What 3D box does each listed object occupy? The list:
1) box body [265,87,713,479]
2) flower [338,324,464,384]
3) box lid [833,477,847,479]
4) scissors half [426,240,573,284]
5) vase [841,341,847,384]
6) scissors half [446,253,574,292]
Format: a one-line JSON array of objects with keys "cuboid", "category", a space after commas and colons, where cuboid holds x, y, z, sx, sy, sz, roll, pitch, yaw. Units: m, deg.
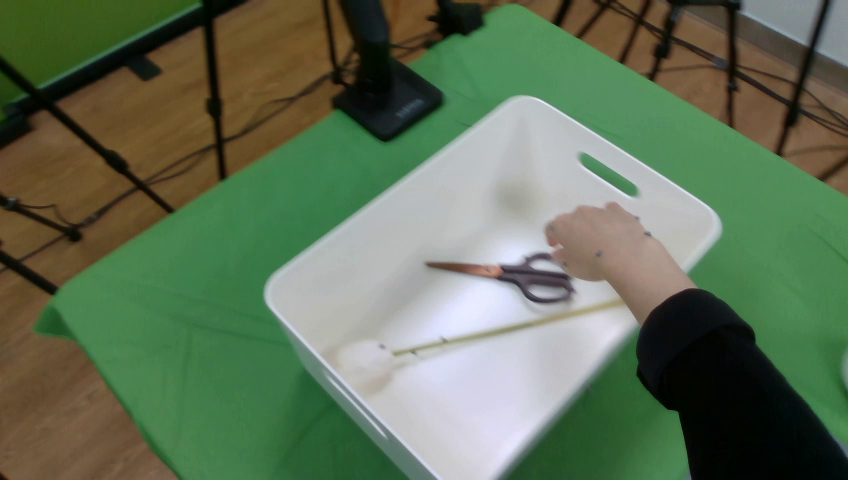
[{"cuboid": [0.067, 0.048, 0.612, 0.252, 0.162, 0.363, 39, 65, 22], "category": "box body"}, {"cuboid": [0.069, 0.088, 0.689, 0.363, 0.044, 0.038, -15, 30, -33], "category": "flower"}, {"cuboid": [0.277, 0.357, 0.503, 0.372, 0.015, 0.260, -8, 58, -5], "category": "box lid"}, {"cuboid": [0.086, 0.019, 0.703, 0.174, 0.040, 0.013, 9, 15, 13], "category": "scissors half"}, {"cuboid": [0.486, 0.093, 0.565, 0.098, 0.202, 0.097, 0, 55, 0], "category": "vase"}, {"cuboid": [0.085, 0.034, 0.707, 0.174, 0.013, 0.040, 7, 99, 14], "category": "scissors half"}]
